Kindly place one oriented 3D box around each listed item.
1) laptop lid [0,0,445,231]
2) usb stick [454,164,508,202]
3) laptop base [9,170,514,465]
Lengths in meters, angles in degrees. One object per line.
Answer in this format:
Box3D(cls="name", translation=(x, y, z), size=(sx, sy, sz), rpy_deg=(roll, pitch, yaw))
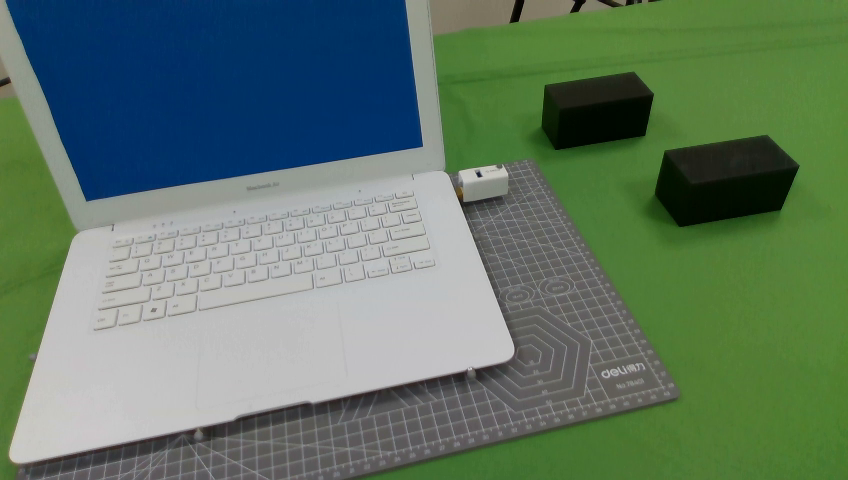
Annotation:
Box3D(cls="laptop lid", translation=(-0.163, -0.137, 0.530), size=(0.357, 0.243, 0.013), rpy_deg=(-12, 29, -6))
Box3D(cls="usb stick", translation=(0.049, -0.053, 0.575), size=(0.059, 0.027, 0.021), rpy_deg=(-12, 44, -5))
Box3D(cls="laptop base", translation=(-0.127, 0.044, 0.503), size=(0.355, 0.023, 0.233), rpy_deg=(-10, 47, -7))
